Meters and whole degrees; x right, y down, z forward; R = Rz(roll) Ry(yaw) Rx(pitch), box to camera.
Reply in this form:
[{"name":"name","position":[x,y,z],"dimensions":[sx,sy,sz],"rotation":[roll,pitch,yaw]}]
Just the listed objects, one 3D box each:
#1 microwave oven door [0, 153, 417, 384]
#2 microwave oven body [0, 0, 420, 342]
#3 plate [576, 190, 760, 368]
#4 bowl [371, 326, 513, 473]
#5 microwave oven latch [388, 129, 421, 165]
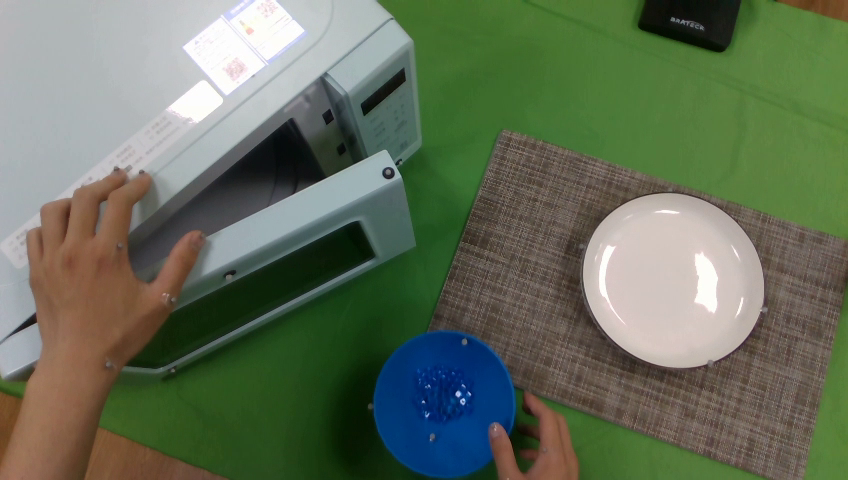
[{"name":"microwave oven door","position":[-0.178,0.043,0.603],"dimensions":[0.356,0.245,0.039],"rotation":[-27,76,-5]},{"name":"microwave oven body","position":[-0.273,-0.122,0.648],"dimensions":[0.441,0.261,0.324],"rotation":[-43,80,-7]},{"name":"plate","position":[0.280,0.046,0.710],"dimensions":[0.208,0.039,0.206],"rotation":[0,77,1]},{"name":"bowl","position":[0.021,0.175,0.670],"dimensions":[0.151,0.077,0.150],"rotation":[-1,76,3]},{"name":"microwave oven latch","position":[-0.039,-0.113,0.740],"dimensions":[0.079,0.029,0.030],"rotation":[-41,79,-7]}]
